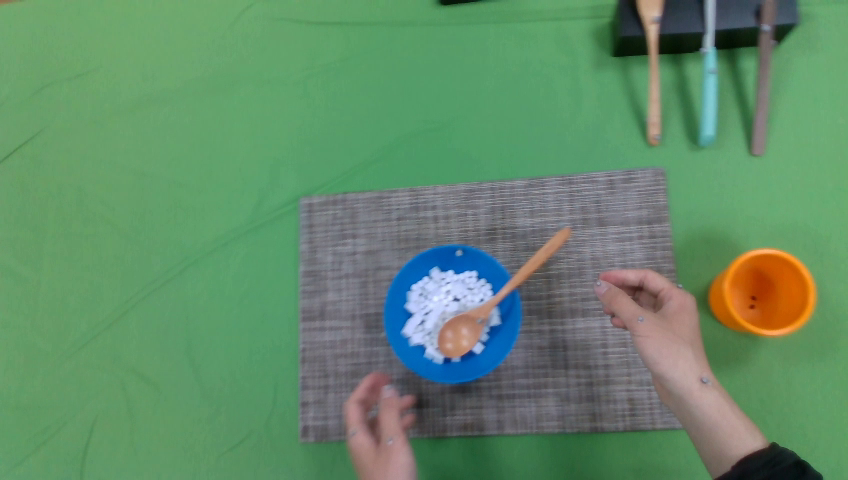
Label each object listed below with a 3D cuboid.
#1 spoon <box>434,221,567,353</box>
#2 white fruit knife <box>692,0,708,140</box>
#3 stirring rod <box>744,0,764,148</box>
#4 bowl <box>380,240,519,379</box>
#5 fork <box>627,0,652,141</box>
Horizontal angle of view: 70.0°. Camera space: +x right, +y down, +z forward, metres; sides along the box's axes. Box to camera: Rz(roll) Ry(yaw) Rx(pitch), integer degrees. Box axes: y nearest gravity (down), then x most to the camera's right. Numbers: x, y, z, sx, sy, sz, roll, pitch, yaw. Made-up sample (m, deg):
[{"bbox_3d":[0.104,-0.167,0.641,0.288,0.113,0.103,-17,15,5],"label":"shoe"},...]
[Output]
[{"bbox_3d":[0.083,0.052,0.651,0.041,0.021,0.194,46,107,6],"label":"spoon"},{"bbox_3d":[0.318,-0.221,0.703,0.016,0.027,0.207,-3,96,4],"label":"white fruit knife"},{"bbox_3d":[0.383,-0.195,0.701,0.014,0.006,0.176,-2,100,4],"label":"stirring rod"},{"bbox_3d":[0.031,0.080,0.687,0.151,0.077,0.151,-1,80,7],"label":"bowl"},{"bbox_3d":[0.256,-0.221,0.711,0.028,0.018,0.208,-7,100,3],"label":"fork"}]
